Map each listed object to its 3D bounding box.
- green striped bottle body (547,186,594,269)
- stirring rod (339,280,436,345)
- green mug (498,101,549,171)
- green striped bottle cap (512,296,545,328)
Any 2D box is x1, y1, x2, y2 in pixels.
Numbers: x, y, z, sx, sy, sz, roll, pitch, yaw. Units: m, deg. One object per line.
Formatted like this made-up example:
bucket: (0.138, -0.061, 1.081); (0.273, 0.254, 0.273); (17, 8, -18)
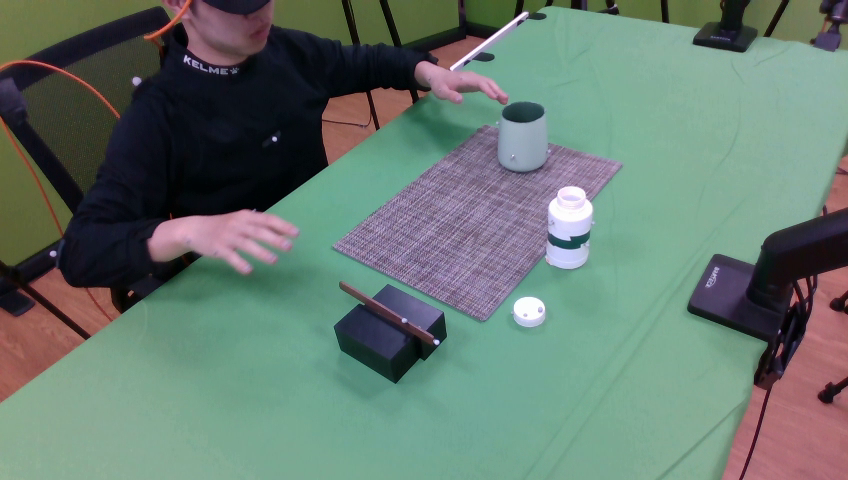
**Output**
green striped bottle body: (0.214, -0.020, 0.886); (0.063, 0.120, 0.063); (-4, 41, 4)
stirring rod: (-0.052, 0.093, 0.795); (0.174, 0.014, 0.006); (27, 46, 33)
green mug: (0.182, -0.197, 1.101); (0.092, 0.105, 0.125); (3, 41, 13)
green striped bottle cap: (0.144, 0.099, 0.837); (0.044, 0.020, 0.044); (-2, 45, 3)
